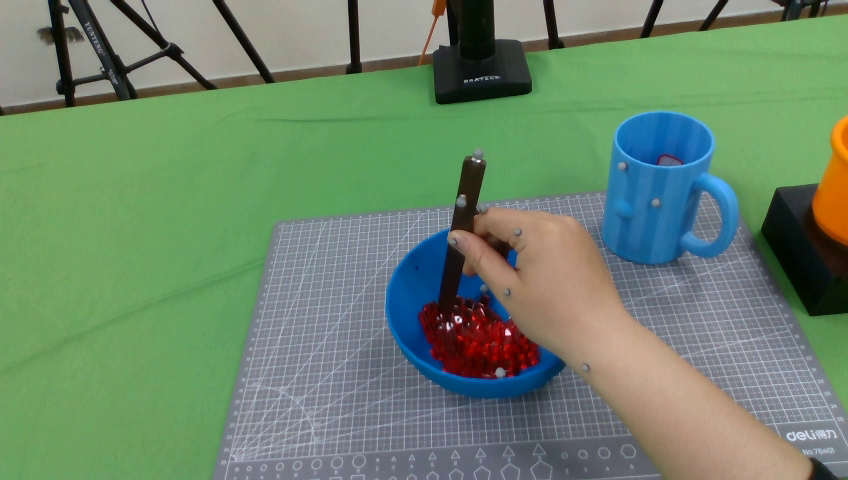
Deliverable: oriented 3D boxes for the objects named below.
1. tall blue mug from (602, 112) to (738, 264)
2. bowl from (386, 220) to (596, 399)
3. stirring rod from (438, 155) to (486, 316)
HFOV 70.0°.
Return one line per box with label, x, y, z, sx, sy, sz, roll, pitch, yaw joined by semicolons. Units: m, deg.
tall blue mug;0.210;-0.038;0.512;0.106;0.109;0.077;15;50;23
bowl;0.051;0.064;0.460;0.151;0.077;0.150;-5;45;5
stirring rod;0.023;0.006;0.410;0.014;0.177;0.006;11;54;4
